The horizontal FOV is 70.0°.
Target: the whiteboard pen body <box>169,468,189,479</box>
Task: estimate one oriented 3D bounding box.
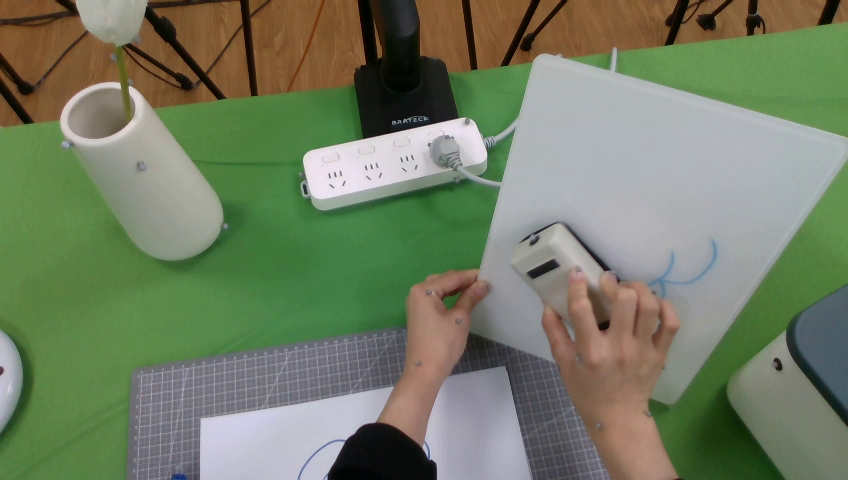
[{"bbox_3d":[-0.218,0.268,0.514,0.017,0.017,0.139,-1,64,-1],"label":"whiteboard pen body"}]

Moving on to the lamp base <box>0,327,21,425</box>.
[{"bbox_3d":[-0.482,0.104,0.513,0.178,0.182,0.160,21,63,14],"label":"lamp base"}]

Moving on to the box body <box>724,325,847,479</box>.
[{"bbox_3d":[0.467,0.188,0.488,0.254,0.161,0.360,-25,65,-13],"label":"box body"}]

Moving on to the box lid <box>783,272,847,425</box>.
[{"bbox_3d":[0.466,0.151,0.423,0.263,0.015,0.368,-26,65,-13],"label":"box lid"}]

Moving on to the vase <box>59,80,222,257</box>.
[{"bbox_3d":[-0.271,-0.062,0.592,0.098,0.201,0.097,0,62,1],"label":"vase"}]

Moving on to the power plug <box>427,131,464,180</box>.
[{"bbox_3d":[0.022,-0.089,0.678,0.035,0.053,0.072,-4,68,-3],"label":"power plug"}]

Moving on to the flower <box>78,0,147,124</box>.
[{"bbox_3d":[-0.250,-0.096,0.518,0.038,0.362,0.044,39,58,0],"label":"flower"}]

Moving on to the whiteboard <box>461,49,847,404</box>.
[{"bbox_3d":[0.182,-0.026,0.553,0.216,0.308,0.143,20,43,11],"label":"whiteboard"}]

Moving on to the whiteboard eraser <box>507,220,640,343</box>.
[{"bbox_3d":[0.127,0.035,0.511,0.113,0.055,0.041,45,41,-13],"label":"whiteboard eraser"}]

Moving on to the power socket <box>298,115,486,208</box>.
[{"bbox_3d":[-0.035,-0.092,0.704,0.227,0.033,0.071,-13,64,-8],"label":"power socket"}]
